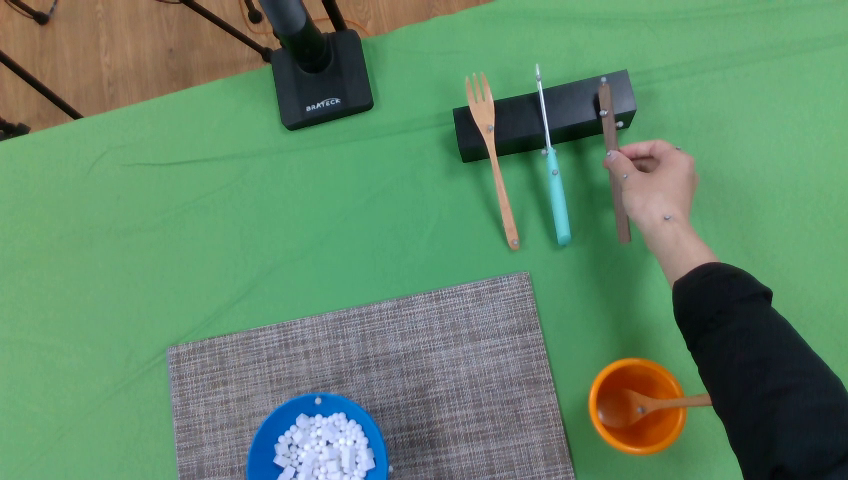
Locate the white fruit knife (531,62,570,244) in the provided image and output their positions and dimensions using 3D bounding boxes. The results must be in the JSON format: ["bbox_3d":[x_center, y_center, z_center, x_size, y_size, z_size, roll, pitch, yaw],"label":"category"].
[{"bbox_3d":[0.140,-0.097,0.683,0.016,0.027,0.207,-11,93,6],"label":"white fruit knife"}]

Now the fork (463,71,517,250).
[{"bbox_3d":[0.078,-0.088,0.692,0.028,0.018,0.207,-14,97,3],"label":"fork"}]

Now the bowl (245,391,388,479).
[{"bbox_3d":[-0.105,0.238,0.653,0.151,0.077,0.150,-2,78,9],"label":"bowl"}]

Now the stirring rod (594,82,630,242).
[{"bbox_3d":[0.205,-0.085,0.660,0.014,0.006,0.176,-10,86,40],"label":"stirring rod"}]

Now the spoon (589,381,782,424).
[{"bbox_3d":[0.242,0.154,0.584,0.193,0.022,0.041,-25,70,50],"label":"spoon"}]
